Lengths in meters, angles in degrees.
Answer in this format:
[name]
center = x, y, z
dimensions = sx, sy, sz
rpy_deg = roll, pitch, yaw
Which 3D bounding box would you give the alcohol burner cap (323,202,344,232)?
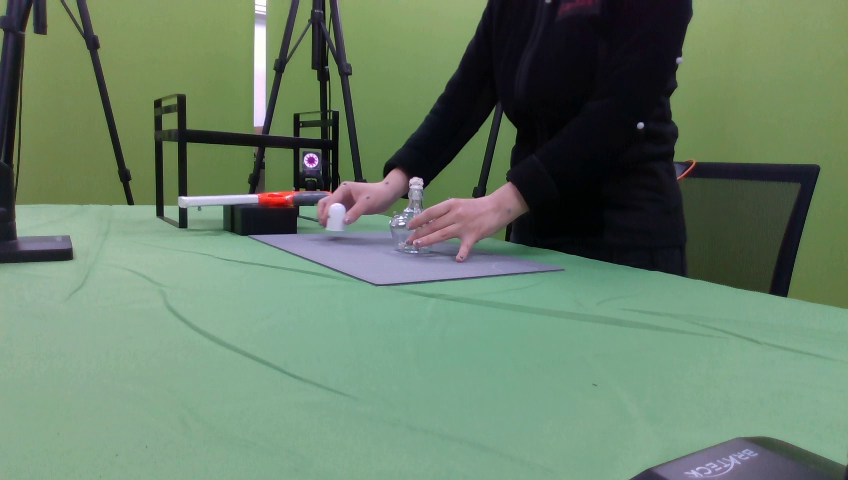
[alcohol burner cap]
center = -0.147, -0.039, 0.994
dimensions = 0.034, 0.048, 0.034
rpy_deg = 7, 10, -1

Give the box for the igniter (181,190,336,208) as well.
[igniter]
center = -0.294, -0.076, 1.103
dimensions = 0.278, 0.025, 0.057
rpy_deg = -5, 12, -33

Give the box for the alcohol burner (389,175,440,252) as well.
[alcohol burner]
center = -0.013, -0.041, 0.929
dimensions = 0.078, 0.119, 0.078
rpy_deg = 5, 7, 0
